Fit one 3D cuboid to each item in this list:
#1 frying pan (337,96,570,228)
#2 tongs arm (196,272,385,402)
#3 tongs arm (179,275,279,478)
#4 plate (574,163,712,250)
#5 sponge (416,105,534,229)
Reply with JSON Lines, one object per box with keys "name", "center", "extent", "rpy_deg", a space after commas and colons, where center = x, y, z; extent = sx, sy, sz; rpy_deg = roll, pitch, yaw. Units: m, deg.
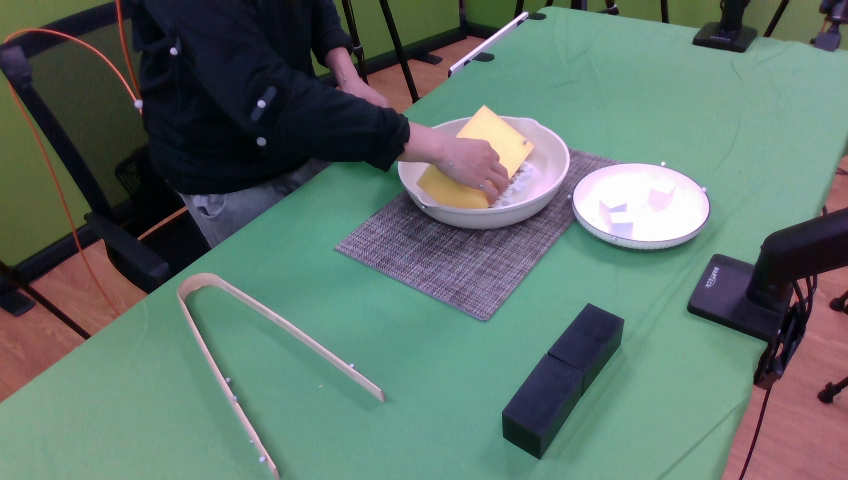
{"name": "frying pan", "center": [0.023, -0.167, 1.090], "extent": [0.484, 0.103, 0.308], "rpy_deg": [32, 52, 26]}
{"name": "tongs arm", "center": [-0.198, 0.125, 0.847], "extent": [0.384, 0.028, 0.028], "rpy_deg": [25, 52, 32]}
{"name": "tongs arm", "center": [-0.259, 0.161, 0.807], "extent": [0.051, 0.026, 0.381], "rpy_deg": [-29, 44, -25]}
{"name": "plate", "center": [0.345, -0.050, 0.966], "extent": [0.207, 0.039, 0.206], "rpy_deg": [-4, 40, 4]}
{"name": "sponge", "center": [0.091, -0.128, 1.022], "extent": [0.118, 0.061, 0.207], "rpy_deg": [38, 50, -1]}
